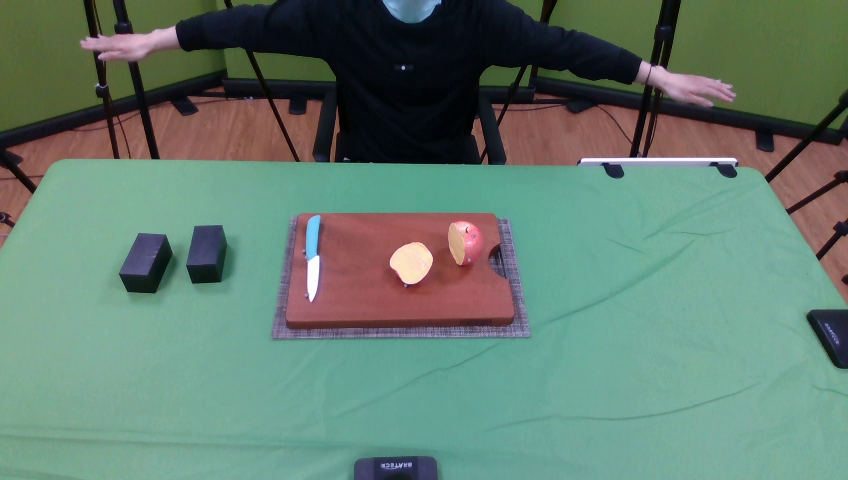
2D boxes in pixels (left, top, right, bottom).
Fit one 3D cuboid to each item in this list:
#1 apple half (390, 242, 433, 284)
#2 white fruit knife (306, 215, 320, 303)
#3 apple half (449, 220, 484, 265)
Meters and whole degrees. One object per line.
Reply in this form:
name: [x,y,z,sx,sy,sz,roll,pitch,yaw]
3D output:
apple half: [-0.017,0.045,1.096,0.081,0.033,0.081,-6,64,13]
white fruit knife: [-0.206,0.032,1.113,0.027,0.016,0.206,-12,47,5]
apple half: [0.083,0.004,1.121,0.053,0.075,0.080,-10,43,-19]
